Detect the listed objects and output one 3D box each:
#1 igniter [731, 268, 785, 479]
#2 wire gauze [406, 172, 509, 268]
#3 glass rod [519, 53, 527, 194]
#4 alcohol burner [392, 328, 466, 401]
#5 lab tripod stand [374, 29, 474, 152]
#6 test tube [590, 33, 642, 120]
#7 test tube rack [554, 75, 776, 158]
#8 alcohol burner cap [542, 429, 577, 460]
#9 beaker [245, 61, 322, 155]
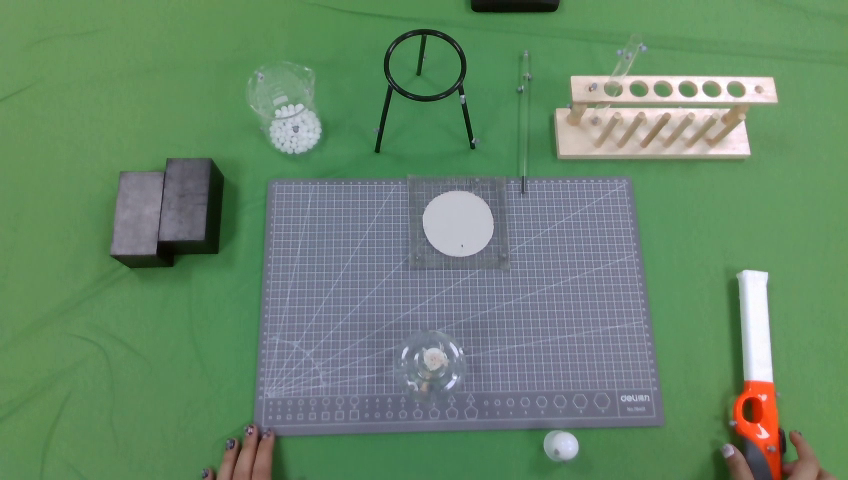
[{"bbox_3d":[0.371,0.166,0.678,0.057,0.025,0.275,7,73,-3],"label":"igniter"},{"bbox_3d":[0.039,-0.026,0.732,0.125,0.011,0.120,1,72,-1],"label":"wire gauze"},{"bbox_3d":[0.127,-0.152,0.775,0.008,0.008,0.198,4,74,-1],"label":"glass rod"},{"bbox_3d":[0.006,0.126,0.628,0.078,0.119,0.077,1,71,-3],"label":"alcohol burner"},{"bbox_3d":[-0.003,-0.173,0.713,0.148,0.132,0.147,0,71,0],"label":"lab tripod stand"},{"bbox_3d":[0.218,-0.183,0.698,0.017,0.151,0.017,0,69,-1],"label":"test tube"},{"bbox_3d":[0.290,-0.149,0.742,0.242,0.085,0.066,0,72,-2],"label":"test tube rack"},{"bbox_3d":[0.147,0.217,0.646,0.034,0.048,0.033,0,70,-1],"label":"alcohol burner cap"},{"bbox_3d":[-0.159,-0.153,0.718,0.084,0.101,0.073,-39,78,-14],"label":"beaker"}]
